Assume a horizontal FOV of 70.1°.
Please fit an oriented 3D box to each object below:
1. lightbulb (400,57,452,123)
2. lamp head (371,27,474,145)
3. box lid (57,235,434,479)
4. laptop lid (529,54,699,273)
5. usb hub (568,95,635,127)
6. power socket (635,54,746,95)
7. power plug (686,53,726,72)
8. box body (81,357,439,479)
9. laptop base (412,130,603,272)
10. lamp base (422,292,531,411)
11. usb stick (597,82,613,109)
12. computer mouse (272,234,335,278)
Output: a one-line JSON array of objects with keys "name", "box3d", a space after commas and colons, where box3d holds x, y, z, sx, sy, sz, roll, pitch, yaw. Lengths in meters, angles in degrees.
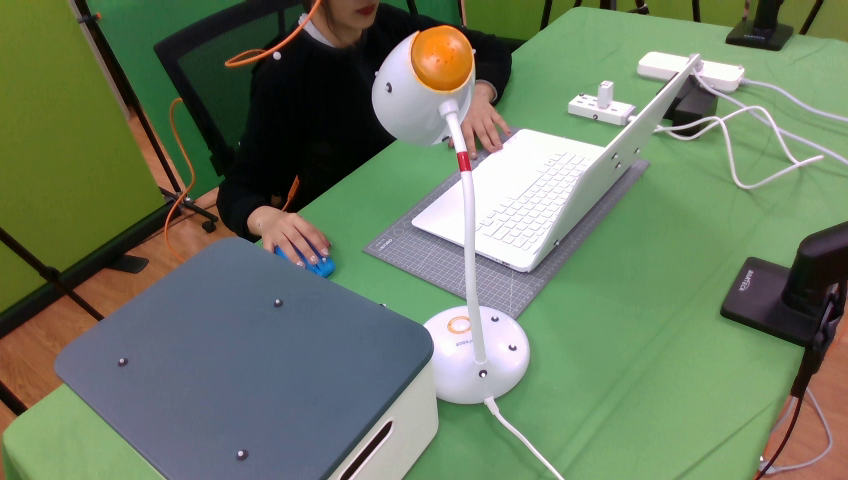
[{"name": "lightbulb", "box3d": [0.003, -0.169, 0.668, 0.059, 0.108, 0.059, 0, 79, -1]}, {"name": "lamp head", "box3d": [0.007, -0.167, 0.644, 0.113, 0.112, 0.122, -22, 2, -14]}, {"name": "box lid", "box3d": [-0.198, 0.123, 0.653, 0.368, 0.015, 0.264, 22, 49, 32]}, {"name": "laptop lid", "box3d": [0.283, -0.114, 0.897, 0.013, 0.242, 0.358, 38, 55, 17]}, {"name": "usb hub", "box3d": [0.360, -0.263, 1.228, 0.124, 0.025, 0.049, 24, 49, 34]}, {"name": "power socket", "box3d": [0.564, -0.357, 1.293, 0.225, 0.033, 0.072, 24, 51, 33]}, {"name": "power plug", "box3d": [0.584, -0.361, 1.260, 0.072, 0.053, 0.035, 14, 55, 16]}, {"name": "box body", "box3d": [-0.189, 0.179, 0.702, 0.361, 0.161, 0.255, 22, 49, 32]}, {"name": "laptop base", "box3d": [0.176, -0.083, 1.055, 0.233, 0.023, 0.355, 21, 48, 36]}, {"name": "lamp base", "box3d": [0.054, 0.095, 0.740, 0.161, 0.181, 0.177, -19, 43, -11]}, {"name": "usb stick", "box3d": [0.360, -0.281, 1.204, 0.021, 0.059, 0.027, 24, 49, 33]}, {"name": "computer mouse", "box3d": [-0.198, 0.029, 0.981, 0.063, 0.041, 0.116, -32, 47, -26]}]
